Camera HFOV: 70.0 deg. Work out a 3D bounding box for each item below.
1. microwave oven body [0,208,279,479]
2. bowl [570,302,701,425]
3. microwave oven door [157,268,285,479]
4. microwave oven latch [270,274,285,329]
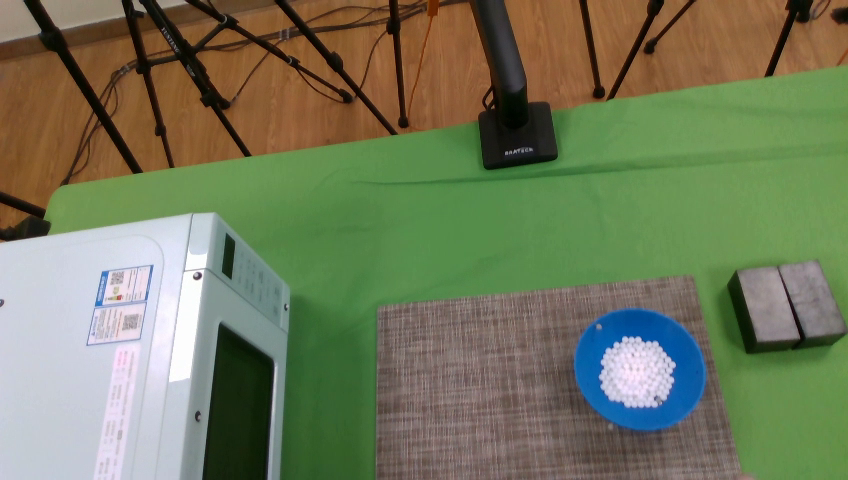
[{"bbox_3d":[-0.375,0.226,0.754,0.326,0.262,0.438,-8,63,7],"label":"microwave oven body"},{"bbox_3d":[0.259,0.161,0.758,0.151,0.077,0.150,-5,63,10],"label":"bowl"},{"bbox_3d":[-0.230,0.240,0.712,0.039,0.246,0.352,-9,62,8],"label":"microwave oven door"},{"bbox_3d":[-0.223,0.092,0.900,0.030,0.030,0.078,-8,63,7],"label":"microwave oven latch"}]
